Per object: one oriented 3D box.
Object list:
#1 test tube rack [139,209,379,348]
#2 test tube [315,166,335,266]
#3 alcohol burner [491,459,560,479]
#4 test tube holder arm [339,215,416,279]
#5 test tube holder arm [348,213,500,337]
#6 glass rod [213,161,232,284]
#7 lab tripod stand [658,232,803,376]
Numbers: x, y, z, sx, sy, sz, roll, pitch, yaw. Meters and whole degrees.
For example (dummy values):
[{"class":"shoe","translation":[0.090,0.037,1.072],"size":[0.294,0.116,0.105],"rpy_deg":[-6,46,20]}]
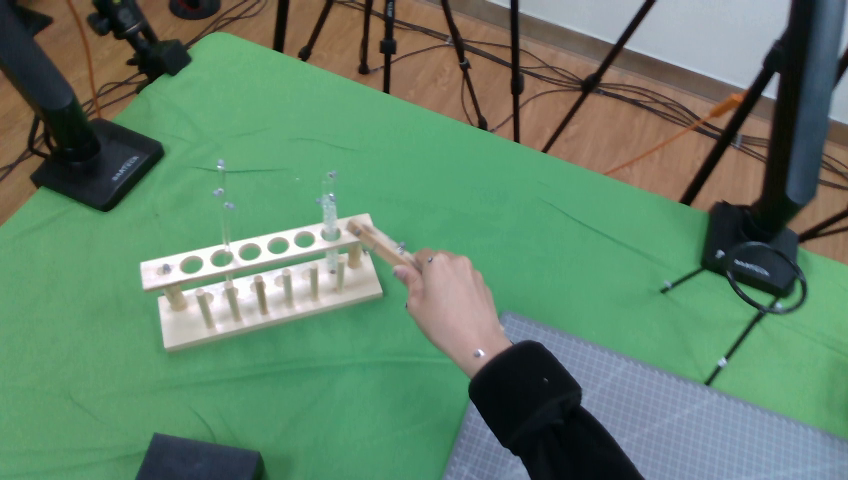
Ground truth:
[{"class":"test tube rack","translation":[-0.175,0.041,0.675],"size":[0.243,0.086,0.066],"rpy_deg":[-14,59,-16]},{"class":"test tube","translation":[-0.108,-0.021,0.664],"size":[0.017,0.151,0.017],"rpy_deg":[3,49,-3]},{"class":"alcohol burner","translation":[0.100,0.237,0.557],"size":[0.078,0.120,0.077],"rpy_deg":[5,55,-6]},{"class":"test tube holder arm","translation":[-0.042,0.006,0.564],"size":[0.087,0.015,0.010],"rpy_deg":[35,35,14]},{"class":"test tube holder arm","translation":[-0.004,0.030,0.558],"size":[0.177,0.015,0.013],"rpy_deg":[36,35,15]},{"class":"glass rod","translation":[-0.206,-0.004,0.622],"size":[0.008,0.201,0.008],"rpy_deg":[7,47,-7]},{"class":"lab tripod stand","translation":[0.354,0.068,0.695],"size":[0.148,0.132,0.147],"rpy_deg":[4,57,-6]}]
